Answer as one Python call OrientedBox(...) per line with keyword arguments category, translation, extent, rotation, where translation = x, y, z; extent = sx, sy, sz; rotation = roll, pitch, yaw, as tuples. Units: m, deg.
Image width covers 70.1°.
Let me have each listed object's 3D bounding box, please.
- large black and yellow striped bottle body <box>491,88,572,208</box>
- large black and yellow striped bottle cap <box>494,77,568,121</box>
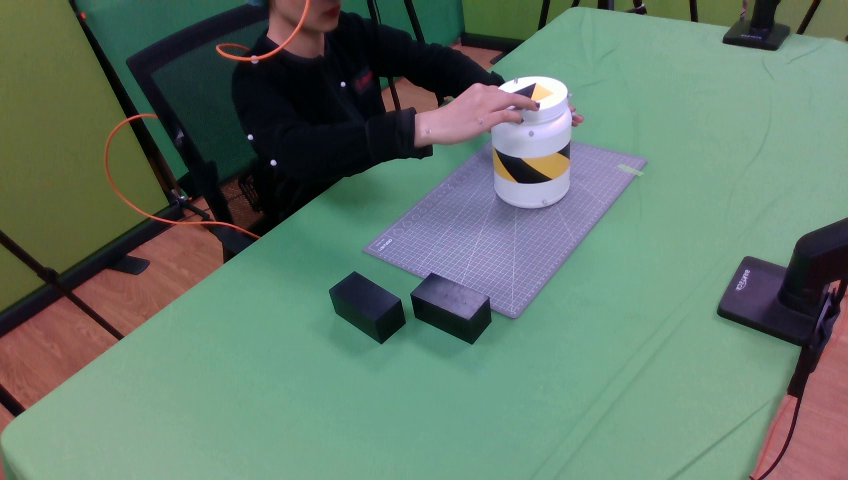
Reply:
OrientedBox(category="large black and yellow striped bottle body", translation=(0.179, -0.160, 1.007), extent=(0.131, 0.185, 0.130), rotation=(-6, 40, 5))
OrientedBox(category="large black and yellow striped bottle cap", translation=(0.168, -0.224, 0.954), extent=(0.115, 0.019, 0.114), rotation=(-4, 41, 4))
